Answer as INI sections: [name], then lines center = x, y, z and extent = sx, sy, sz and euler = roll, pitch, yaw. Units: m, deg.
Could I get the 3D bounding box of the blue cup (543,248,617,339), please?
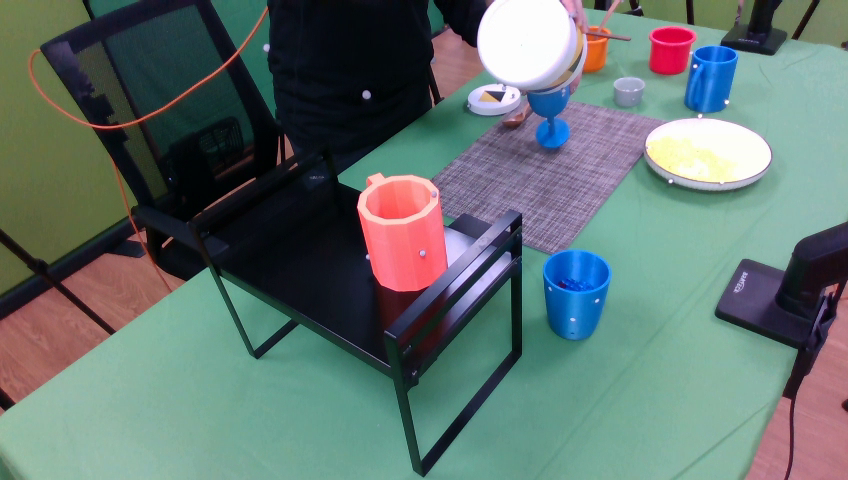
[blue cup]
center = 0.199, 0.076, 0.797
extent = 0.092, 0.100, 0.092
euler = -4, 39, 4

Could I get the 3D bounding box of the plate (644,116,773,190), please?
[plate]
center = 0.495, -0.149, 1.063
extent = 0.209, 0.038, 0.208
euler = -5, 40, 4

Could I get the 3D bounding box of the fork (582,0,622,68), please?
[fork]
center = 0.409, -0.484, 1.381
extent = 0.028, 0.019, 0.207
euler = 37, 101, 46

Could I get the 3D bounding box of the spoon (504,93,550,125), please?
[spoon]
center = 0.227, -0.285, 1.269
extent = 0.041, 0.022, 0.194
euler = 1, 36, 45

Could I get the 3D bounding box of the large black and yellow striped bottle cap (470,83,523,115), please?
[large black and yellow striped bottle cap]
center = 0.157, -0.307, 1.316
extent = 0.115, 0.019, 0.114
euler = -7, 39, 6

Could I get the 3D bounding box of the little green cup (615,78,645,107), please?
[little green cup]
center = 0.426, -0.306, 1.257
extent = 0.061, 0.039, 0.061
euler = -4, 40, 4

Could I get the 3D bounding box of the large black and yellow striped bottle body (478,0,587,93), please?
[large black and yellow striped bottle body]
center = 0.169, -0.288, 0.903
extent = 0.130, 0.131, 0.185
euler = 13, 14, 22

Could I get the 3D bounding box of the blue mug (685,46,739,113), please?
[blue mug]
center = 0.556, -0.310, 1.190
extent = 0.117, 0.106, 0.081
euler = -32, 46, -25

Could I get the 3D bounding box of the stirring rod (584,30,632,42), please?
[stirring rod]
center = 0.381, -0.463, 1.356
extent = 0.175, 0.006, 0.014
euler = 22, 47, 30

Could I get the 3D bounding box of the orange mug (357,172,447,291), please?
[orange mug]
center = -0.030, -0.018, 0.669
extent = 0.084, 0.101, 0.125
euler = -23, 47, -16

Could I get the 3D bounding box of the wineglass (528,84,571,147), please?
[wineglass]
center = 0.225, -0.237, 1.074
extent = 0.073, 0.173, 0.073
euler = -5, 67, 13
